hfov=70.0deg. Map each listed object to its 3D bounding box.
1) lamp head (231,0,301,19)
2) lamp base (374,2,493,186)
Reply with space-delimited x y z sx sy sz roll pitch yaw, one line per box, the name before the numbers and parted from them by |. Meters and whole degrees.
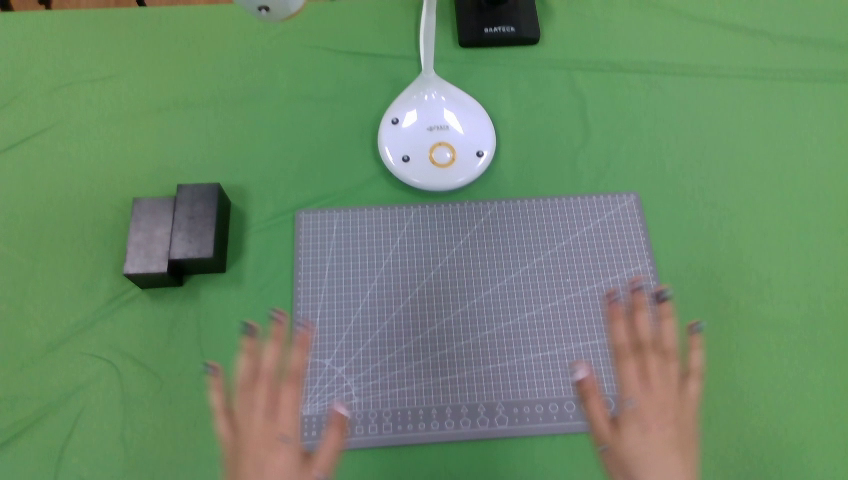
lamp head | -0.150 -0.263 0.544 0.112 0.124 0.111 -5 68 14
lamp base | 0.009 -0.185 0.749 0.161 0.181 0.177 -16 65 -8
